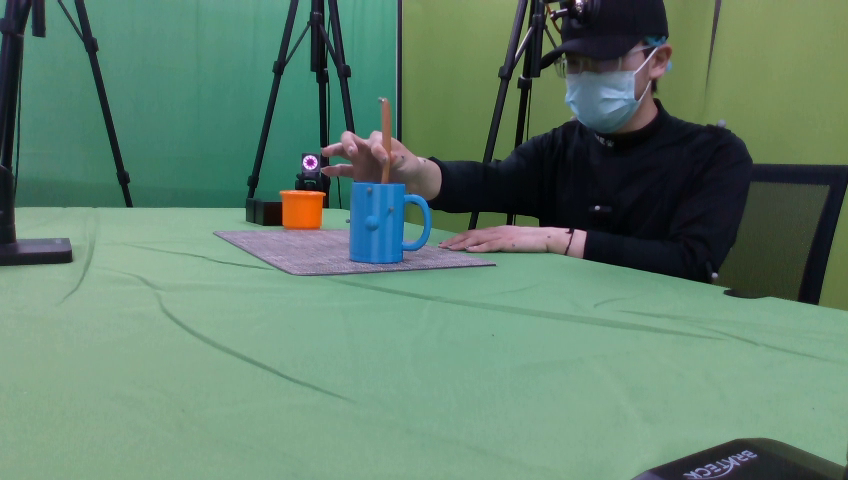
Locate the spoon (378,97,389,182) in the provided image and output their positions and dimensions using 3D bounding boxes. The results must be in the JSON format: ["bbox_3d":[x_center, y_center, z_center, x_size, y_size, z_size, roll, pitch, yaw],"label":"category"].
[{"bbox_3d":[-0.057,-0.097,0.824,0.042,0.193,0.021,0,10,-32],"label":"spoon"}]

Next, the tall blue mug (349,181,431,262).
[{"bbox_3d":[-0.051,-0.028,0.849,0.108,0.108,0.077,-1,7,-22],"label":"tall blue mug"}]
